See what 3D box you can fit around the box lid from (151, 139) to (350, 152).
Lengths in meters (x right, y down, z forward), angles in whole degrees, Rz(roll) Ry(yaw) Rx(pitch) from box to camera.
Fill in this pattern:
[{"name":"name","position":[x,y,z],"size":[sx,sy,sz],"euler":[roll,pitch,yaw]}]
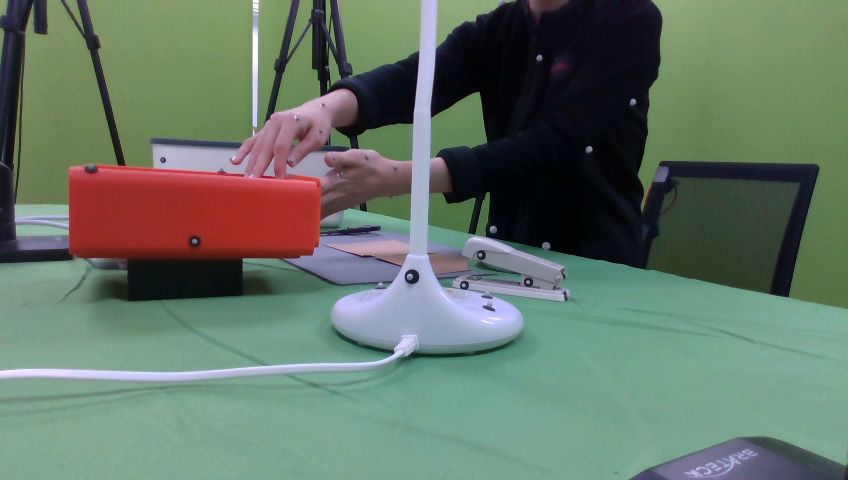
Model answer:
[{"name":"box lid","position":[-0.352,-0.191,1.255],"size":[0.373,0.015,0.262],"euler":[0,8,-18]}]

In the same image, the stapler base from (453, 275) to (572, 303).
[{"name":"stapler base","position":[0.097,0.047,0.670],"size":[0.130,0.024,0.041],"euler":[7,12,23]}]

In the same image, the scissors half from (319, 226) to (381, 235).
[{"name":"scissors half","position":[-0.153,-0.015,1.079],"size":[0.176,0.013,0.040],"euler":[-7,2,-33]}]

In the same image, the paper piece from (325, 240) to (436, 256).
[{"name":"paper piece","position":[-0.068,0.011,0.933],"size":[0.136,0.004,0.134],"euler":[-2,10,-30]}]

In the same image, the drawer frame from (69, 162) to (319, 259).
[{"name":"drawer frame","position":[-0.237,-0.033,0.632],"size":[0.214,0.082,0.200],"euler":[0,8,-25]}]

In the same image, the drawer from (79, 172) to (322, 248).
[{"name":"drawer","position":[-0.232,-0.037,0.635],"size":[0.213,0.073,0.193],"euler":[-1,9,-25]}]

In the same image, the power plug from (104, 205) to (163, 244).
[{"name":"power plug","position":[-0.390,-0.021,0.815],"size":[0.073,0.052,0.035],"euler":[-1,7,-27]}]

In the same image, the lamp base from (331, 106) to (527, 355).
[{"name":"lamp base","position":[0.006,-0.012,0.478],"size":[0.161,0.180,0.179],"euler":[2,10,2]}]

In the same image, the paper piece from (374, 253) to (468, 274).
[{"name":"paper piece","position":[0.021,0.029,0.830],"size":[0.139,0.008,0.135],"euler":[-1,11,-36]}]

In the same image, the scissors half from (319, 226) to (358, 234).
[{"name":"scissors half","position":[-0.166,-0.015,1.094],"size":[0.040,0.013,0.176],"euler":[3,7,39]}]

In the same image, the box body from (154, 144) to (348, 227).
[{"name":"box body","position":[-0.357,-0.119,1.264],"size":[0.365,0.160,0.253],"euler":[0,7,-18]}]

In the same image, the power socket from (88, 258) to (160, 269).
[{"name":"power socket","position":[-0.409,0.004,0.793],"size":[0.072,0.032,0.225],"euler":[-2,8,-38]}]

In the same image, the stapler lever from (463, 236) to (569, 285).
[{"name":"stapler lever","position":[0.100,0.022,0.666],"size":[0.117,0.040,0.027],"euler":[8,12,23]}]
